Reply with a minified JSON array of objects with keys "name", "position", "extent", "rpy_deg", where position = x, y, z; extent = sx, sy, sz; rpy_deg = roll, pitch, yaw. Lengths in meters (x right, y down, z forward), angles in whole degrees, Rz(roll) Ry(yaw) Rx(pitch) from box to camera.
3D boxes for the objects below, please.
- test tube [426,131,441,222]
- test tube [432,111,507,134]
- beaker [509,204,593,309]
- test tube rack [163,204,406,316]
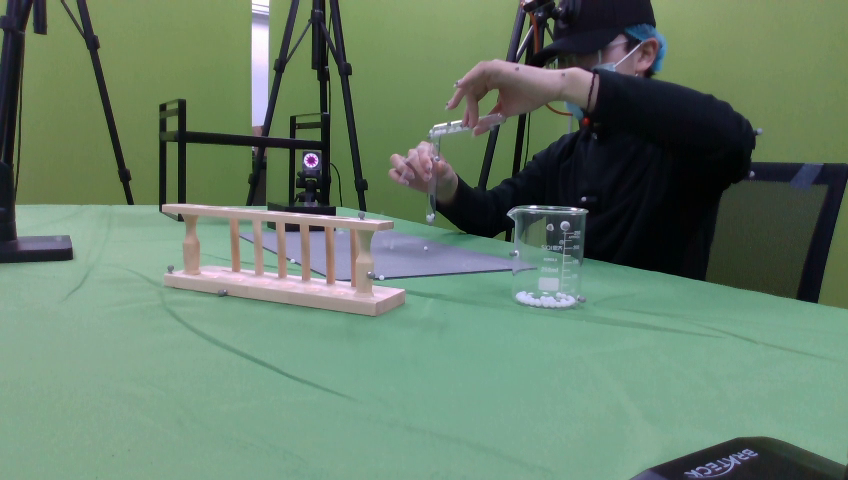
[{"name":"test tube","position":[0.015,-0.100,0.968],"extent":[0.017,0.150,0.017],"rpy_deg":[3,24,-1]},{"name":"test tube","position":[0.064,-0.170,0.881],"extent":[0.017,0.017,0.149],"rpy_deg":[-4,4,-39]},{"name":"beaker","position":[0.126,0.015,0.613],"extent":[0.084,0.100,0.074],"rpy_deg":[1,7,-5]},{"name":"test tube rack","position":[-0.141,0.013,0.601],"extent":[0.241,0.085,0.067],"rpy_deg":[5,8,21]}]
